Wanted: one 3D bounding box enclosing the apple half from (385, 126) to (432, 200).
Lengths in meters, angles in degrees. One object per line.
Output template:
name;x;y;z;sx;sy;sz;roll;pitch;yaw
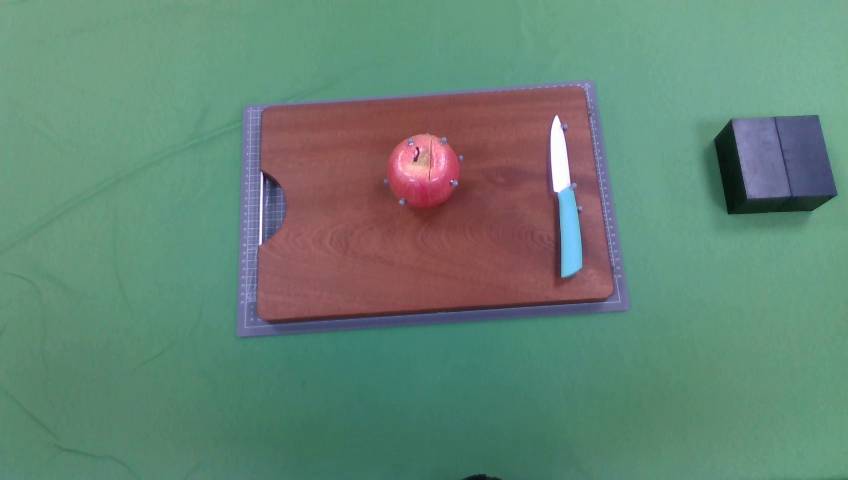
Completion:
apple half;-0.016;-0.085;0.679;0.053;0.075;0.080;0;77;7

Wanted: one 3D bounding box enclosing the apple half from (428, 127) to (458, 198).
apple half;0.022;-0.084;0.676;0.033;0.082;0.081;0;73;6

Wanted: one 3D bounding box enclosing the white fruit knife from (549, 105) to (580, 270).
white fruit knife;0.160;-0.065;0.697;0.027;0.016;0.206;2;72;-11
